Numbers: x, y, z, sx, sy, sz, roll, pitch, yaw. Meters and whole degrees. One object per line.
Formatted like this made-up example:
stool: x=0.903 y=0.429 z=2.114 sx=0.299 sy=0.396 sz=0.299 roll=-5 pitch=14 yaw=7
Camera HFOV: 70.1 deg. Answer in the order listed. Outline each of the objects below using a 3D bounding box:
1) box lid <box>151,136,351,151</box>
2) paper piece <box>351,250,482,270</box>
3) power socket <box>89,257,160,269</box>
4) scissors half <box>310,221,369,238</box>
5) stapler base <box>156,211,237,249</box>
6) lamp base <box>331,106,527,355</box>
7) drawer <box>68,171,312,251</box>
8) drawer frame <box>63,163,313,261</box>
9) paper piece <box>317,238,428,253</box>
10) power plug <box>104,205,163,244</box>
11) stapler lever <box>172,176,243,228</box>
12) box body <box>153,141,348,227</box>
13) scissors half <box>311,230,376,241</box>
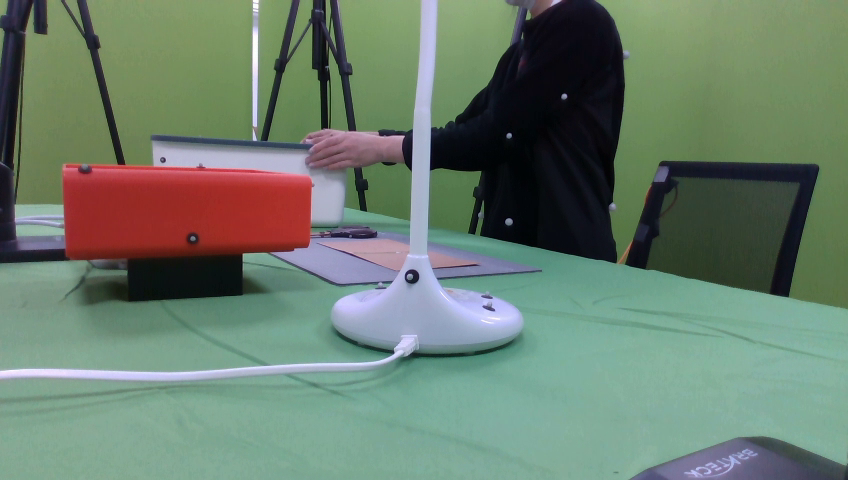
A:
box lid: x=-0.351 y=-0.197 z=1.250 sx=0.373 sy=0.015 sz=0.262 roll=0 pitch=9 yaw=-19
paper piece: x=-0.013 y=0.026 z=0.842 sx=0.139 sy=0.008 sz=0.135 roll=-1 pitch=11 yaw=-32
power socket: x=-0.409 y=0.004 z=0.793 sx=0.072 sy=0.032 sz=0.225 roll=-2 pitch=8 yaw=-38
scissors half: x=-0.172 y=-0.015 z=1.063 sx=0.176 sy=0.013 sz=0.040 roll=-10 pitch=36 yaw=-42
stapler base: x=-0.227 y=-0.017 z=0.624 sx=0.041 sy=0.024 sz=0.130 roll=19 pitch=10 yaw=-2
lamp base: x=0.006 y=-0.012 z=0.478 sx=0.161 sy=0.180 sz=0.179 roll=2 pitch=10 yaw=2
drawer: x=-0.247 y=-0.036 z=0.629 sx=0.213 sy=0.073 sz=0.193 roll=-2 pitch=9 yaw=-30
drawer frame: x=-0.248 y=-0.036 z=0.626 sx=0.215 sy=0.082 sz=0.200 roll=-3 pitch=9 yaw=-31
paper piece: x=-0.083 y=0.008 z=0.951 sx=0.136 sy=0.004 sz=0.134 roll=-2 pitch=9 yaw=-31
power plug: x=-0.390 y=-0.021 z=0.815 sx=0.073 sy=0.052 sz=0.035 roll=-1 pitch=8 yaw=-28
stapler lever: x=-0.217 y=-0.041 z=0.618 sx=0.027 sy=0.040 sz=0.118 roll=19 pitch=11 yaw=-2
box body: x=-0.357 y=-0.118 z=1.264 sx=0.365 sy=0.160 sz=0.253 roll=0 pitch=7 yaw=-18
scissors half: x=-0.163 y=-0.003 z=1.049 sx=0.176 sy=0.013 sz=0.040 roll=1 pitch=35 yaw=-28
